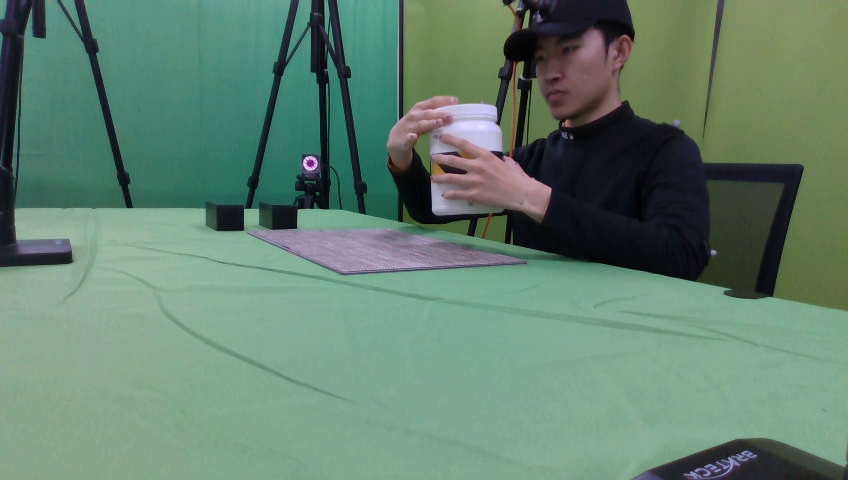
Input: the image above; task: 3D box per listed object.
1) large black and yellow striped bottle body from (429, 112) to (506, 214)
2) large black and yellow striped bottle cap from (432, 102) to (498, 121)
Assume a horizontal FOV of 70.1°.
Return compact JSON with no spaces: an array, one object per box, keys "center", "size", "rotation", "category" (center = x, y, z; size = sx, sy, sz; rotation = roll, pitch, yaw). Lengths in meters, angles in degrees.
[{"center":[0.075,-0.140,1.068],"size":[0.131,0.184,0.131],"rotation":[-3,3,0],"category":"large black and yellow striped bottle body"},{"center":[0.072,-0.223,1.063],"size":[0.115,0.019,0.115],"rotation":[-4,2,0],"category":"large black and yellow striped bottle cap"}]
